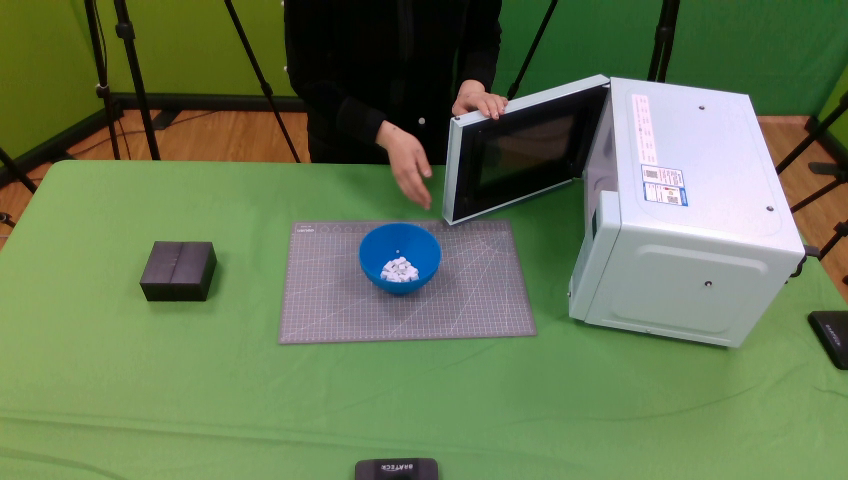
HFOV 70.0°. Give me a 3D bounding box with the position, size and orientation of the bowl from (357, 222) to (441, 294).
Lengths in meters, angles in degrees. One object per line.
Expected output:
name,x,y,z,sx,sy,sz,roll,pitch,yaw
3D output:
bowl,-0.047,0.046,1.107,0.151,0.077,0.150,2,46,-2

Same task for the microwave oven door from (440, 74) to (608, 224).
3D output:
microwave oven door,0.200,-0.184,1.214,0.356,0.245,0.039,-21,51,-22

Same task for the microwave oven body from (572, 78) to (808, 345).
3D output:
microwave oven body,0.456,-0.063,1.124,0.326,0.261,0.439,8,45,5

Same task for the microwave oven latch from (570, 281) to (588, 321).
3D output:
microwave oven latch,0.275,0.105,1.083,0.030,0.029,0.079,9,45,6
